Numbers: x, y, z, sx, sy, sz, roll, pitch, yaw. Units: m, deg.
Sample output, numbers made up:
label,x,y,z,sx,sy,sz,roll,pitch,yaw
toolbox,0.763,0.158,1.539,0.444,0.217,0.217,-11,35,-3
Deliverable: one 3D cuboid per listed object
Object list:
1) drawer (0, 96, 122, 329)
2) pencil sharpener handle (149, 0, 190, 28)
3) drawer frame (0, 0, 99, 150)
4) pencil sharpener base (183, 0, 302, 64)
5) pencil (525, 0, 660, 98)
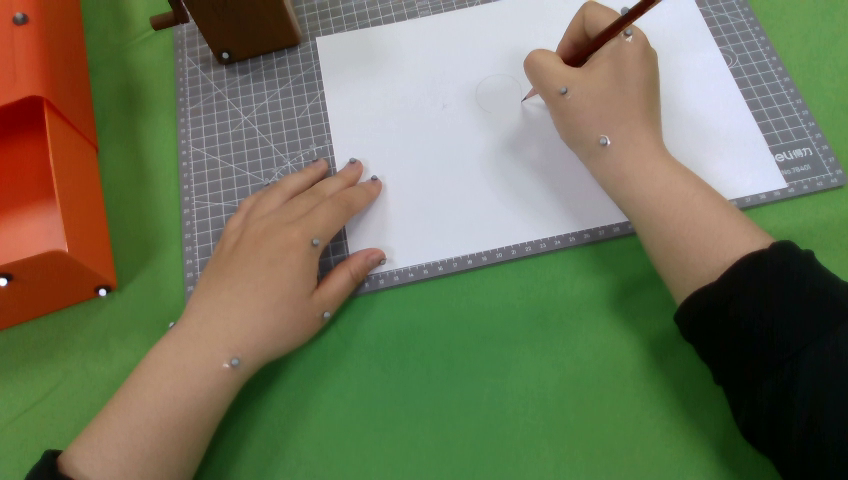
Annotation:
label,x,y,z,sx,sy,sz,roll,pitch,yaw
drawer,-0.329,-0.034,0.413,0.194,0.074,0.210,-20,66,-4
pencil sharpener handle,-0.193,-0.181,0.432,0.030,0.068,0.035,-18,63,-2
drawer frame,-0.369,-0.135,0.457,0.202,0.083,0.211,-20,66,-3
pencil sharpener base,-0.144,-0.192,0.446,0.077,0.108,0.061,-18,66,-2
pencil,0.116,-0.128,0.362,0.012,0.194,0.012,7,73,-24
